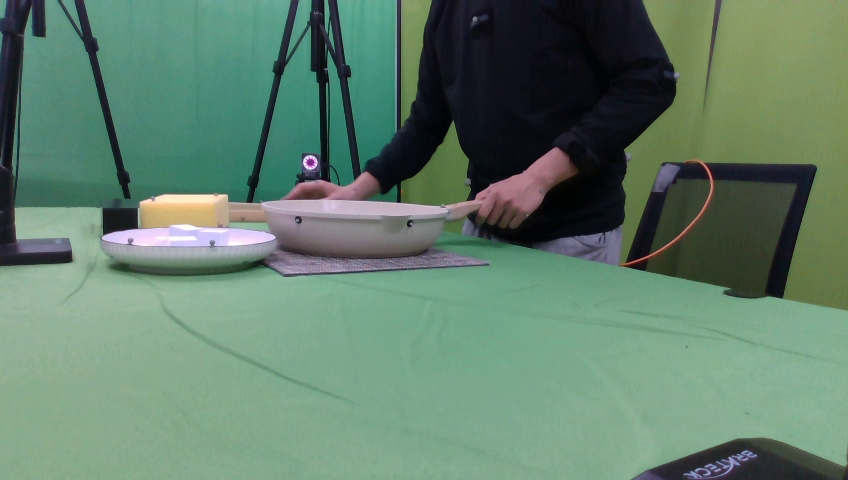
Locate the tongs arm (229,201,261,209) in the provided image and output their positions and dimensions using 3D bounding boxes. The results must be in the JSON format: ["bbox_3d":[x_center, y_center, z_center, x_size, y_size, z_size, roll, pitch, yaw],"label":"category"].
[{"bbox_3d":[-0.306,-0.070,1.430,0.386,0.026,0.050,2,7,-15],"label":"tongs arm"}]

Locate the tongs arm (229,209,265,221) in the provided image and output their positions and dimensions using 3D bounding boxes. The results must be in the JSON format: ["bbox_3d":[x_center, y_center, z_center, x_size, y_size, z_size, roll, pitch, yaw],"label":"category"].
[{"bbox_3d":[-0.280,-0.057,1.355,0.390,0.028,0.028,-1,5,-28],"label":"tongs arm"}]

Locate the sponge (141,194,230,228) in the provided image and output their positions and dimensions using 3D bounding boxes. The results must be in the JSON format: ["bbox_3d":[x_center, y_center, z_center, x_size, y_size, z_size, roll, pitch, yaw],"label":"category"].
[{"bbox_3d":[-0.425,-0.047,1.097,0.118,0.061,0.206,-2,8,-12],"label":"sponge"}]

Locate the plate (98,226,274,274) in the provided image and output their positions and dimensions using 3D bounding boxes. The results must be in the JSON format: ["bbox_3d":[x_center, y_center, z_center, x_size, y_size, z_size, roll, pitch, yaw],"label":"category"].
[{"bbox_3d":[-0.301,0.012,0.778,0.208,0.039,0.207,3,7,0],"label":"plate"}]

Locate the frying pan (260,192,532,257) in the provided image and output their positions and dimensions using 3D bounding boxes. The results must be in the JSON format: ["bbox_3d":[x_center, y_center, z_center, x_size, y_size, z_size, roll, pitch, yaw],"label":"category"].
[{"bbox_3d":[-0.017,-0.043,1.006,0.490,0.102,0.305,-11,13,-26],"label":"frying pan"}]
